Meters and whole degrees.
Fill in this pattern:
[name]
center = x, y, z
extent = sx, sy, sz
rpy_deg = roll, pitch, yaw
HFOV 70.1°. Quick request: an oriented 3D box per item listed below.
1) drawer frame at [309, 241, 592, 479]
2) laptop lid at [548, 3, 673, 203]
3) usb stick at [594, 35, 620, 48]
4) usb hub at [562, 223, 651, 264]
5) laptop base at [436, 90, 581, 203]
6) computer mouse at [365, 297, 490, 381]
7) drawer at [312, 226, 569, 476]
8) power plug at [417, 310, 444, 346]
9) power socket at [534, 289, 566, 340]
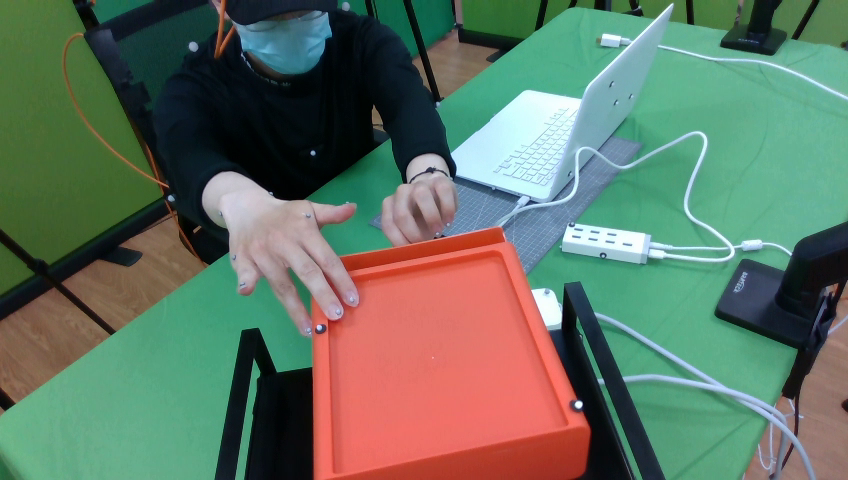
[drawer frame]
center = 0.010, 0.109, 0.520
extent = 0.202, 0.083, 0.212
rpy_deg = -10, 41, -4
[laptop lid]
center = 0.320, -0.235, 1.026
extent = 0.013, 0.242, 0.357
rpy_deg = 31, 50, 20
[usb stick]
center = 0.443, -0.482, 1.466
extent = 0.059, 0.021, 0.027
rpy_deg = 10, 43, 9
[usb hub]
center = 0.279, 0.005, 0.926
extent = 0.124, 0.025, 0.049
rpy_deg = 10, 43, 19
[laptop base]
center = 0.214, -0.193, 1.172
extent = 0.233, 0.023, 0.355
rpy_deg = 19, 46, 32
[computer mouse]
center = 0.002, 0.087, 0.569
extent = 0.116, 0.041, 0.063
rpy_deg = 13, 47, 30
[drawer]
center = 0.004, 0.092, 0.543
extent = 0.195, 0.073, 0.210
rpy_deg = -10, 41, -4
[power plug]
center = 0.007, 0.122, 0.786
extent = 0.035, 0.053, 0.072
rpy_deg = 1, 39, 8
[power socket]
center = 0.081, 0.111, 0.822
extent = 0.227, 0.033, 0.072
rpy_deg = -6, 41, 0
